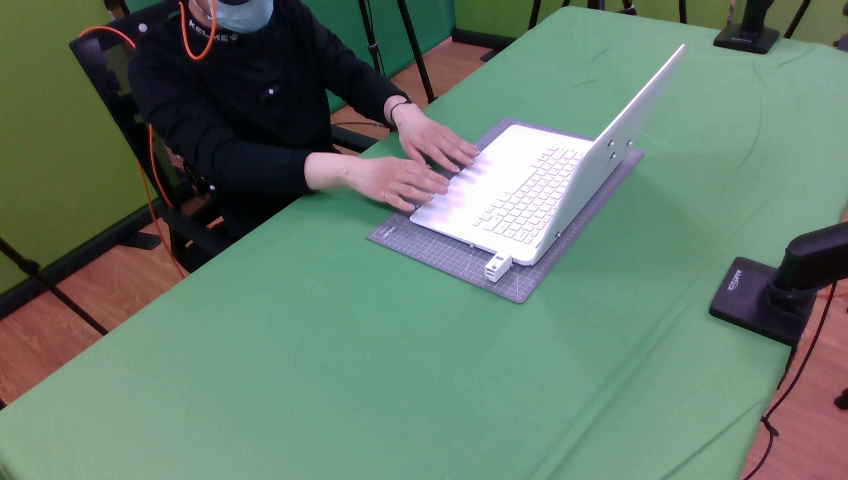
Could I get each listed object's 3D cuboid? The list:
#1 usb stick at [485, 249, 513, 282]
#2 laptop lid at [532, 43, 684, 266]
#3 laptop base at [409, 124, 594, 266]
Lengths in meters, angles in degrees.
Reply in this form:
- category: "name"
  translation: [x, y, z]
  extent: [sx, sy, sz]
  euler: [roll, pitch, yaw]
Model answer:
- category: "usb stick"
  translation: [0.115, 0.034, 0.896]
  extent: [0.021, 0.027, 0.059]
  euler: [23, 47, 32]
- category: "laptop lid"
  translation: [0.280, -0.130, 0.907]
  extent: [0.013, 0.242, 0.357]
  euler: [34, 52, 17]
- category: "laptop base"
  translation: [0.168, -0.094, 1.056]
  extent: [0.233, 0.023, 0.355]
  euler: [20, 47, 32]
